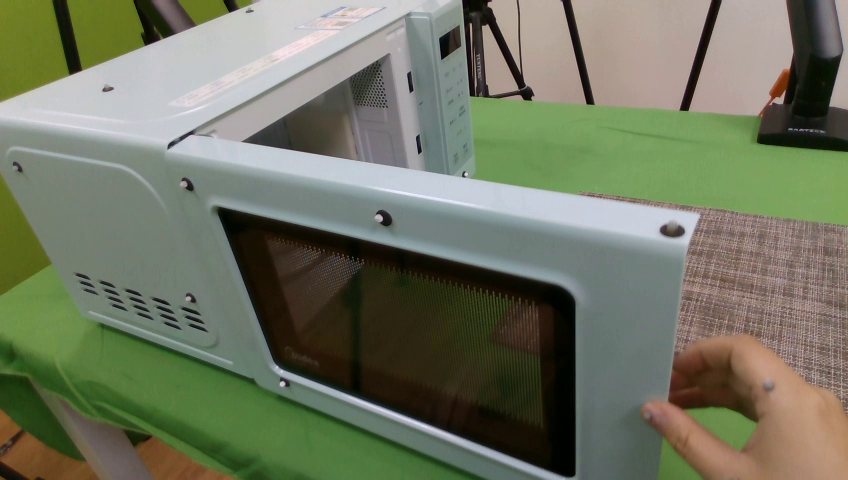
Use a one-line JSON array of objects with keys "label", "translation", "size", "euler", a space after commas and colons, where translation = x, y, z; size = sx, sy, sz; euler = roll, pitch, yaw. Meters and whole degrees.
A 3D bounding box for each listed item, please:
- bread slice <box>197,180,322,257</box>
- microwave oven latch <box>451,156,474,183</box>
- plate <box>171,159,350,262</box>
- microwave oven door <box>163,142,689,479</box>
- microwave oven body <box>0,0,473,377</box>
[{"label": "bread slice", "translation": [-0.190, -0.033, 0.720], "size": [0.104, 0.019, 0.131], "euler": [19, 44, 34]}, {"label": "microwave oven latch", "translation": [0.043, -0.088, 0.828], "size": [0.030, 0.030, 0.079], "euler": [12, 39, 28]}, {"label": "plate", "translation": [-0.188, -0.034, 0.717], "size": [0.209, 0.038, 0.207], "euler": [-7, 33, 5]}, {"label": "microwave oven door", "translation": [-0.014, 0.063, 0.420], "size": [0.353, 0.246, 0.039], "euler": [12, 38, 28]}, {"label": "microwave oven body", "translation": [-0.183, -0.098, 0.718], "size": [0.324, 0.262, 0.440], "euler": [11, 39, 27]}]
